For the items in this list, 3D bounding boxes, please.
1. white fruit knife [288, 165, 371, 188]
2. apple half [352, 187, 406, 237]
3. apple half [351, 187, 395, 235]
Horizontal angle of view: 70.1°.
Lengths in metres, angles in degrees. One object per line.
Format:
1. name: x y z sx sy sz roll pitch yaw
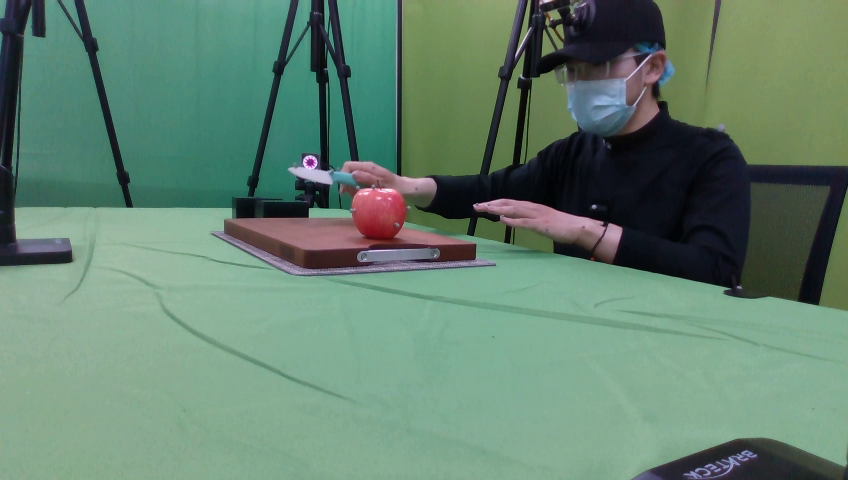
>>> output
1. white fruit knife: -0.161 -0.113 1.057 0.016 0.027 0.208 -12 -9 31
2. apple half: -0.059 -0.039 0.883 0.081 0.074 0.053 2 10 -39
3. apple half: -0.083 -0.046 0.913 0.082 0.081 0.032 -3 13 -38
